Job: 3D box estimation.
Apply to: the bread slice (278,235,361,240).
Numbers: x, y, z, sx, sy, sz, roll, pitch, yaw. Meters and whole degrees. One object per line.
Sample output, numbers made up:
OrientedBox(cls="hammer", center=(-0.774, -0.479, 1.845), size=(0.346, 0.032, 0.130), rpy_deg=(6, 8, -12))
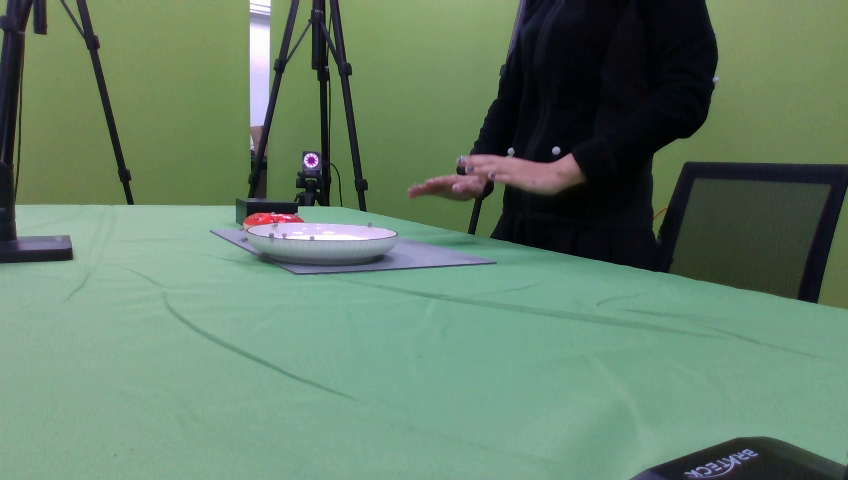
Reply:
OrientedBox(cls="bread slice", center=(-0.139, 0.007, 0.839), size=(0.132, 0.019, 0.104), rpy_deg=(-2, 8, -35))

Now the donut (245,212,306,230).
OrientedBox(cls="donut", center=(-0.244, -0.023, 0.997), size=(0.099, 0.048, 0.099), rpy_deg=(2, 5, 0))

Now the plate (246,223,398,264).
OrientedBox(cls="plate", center=(-0.140, 0.004, 0.847), size=(0.209, 0.038, 0.209), rpy_deg=(2, 7, 0))
